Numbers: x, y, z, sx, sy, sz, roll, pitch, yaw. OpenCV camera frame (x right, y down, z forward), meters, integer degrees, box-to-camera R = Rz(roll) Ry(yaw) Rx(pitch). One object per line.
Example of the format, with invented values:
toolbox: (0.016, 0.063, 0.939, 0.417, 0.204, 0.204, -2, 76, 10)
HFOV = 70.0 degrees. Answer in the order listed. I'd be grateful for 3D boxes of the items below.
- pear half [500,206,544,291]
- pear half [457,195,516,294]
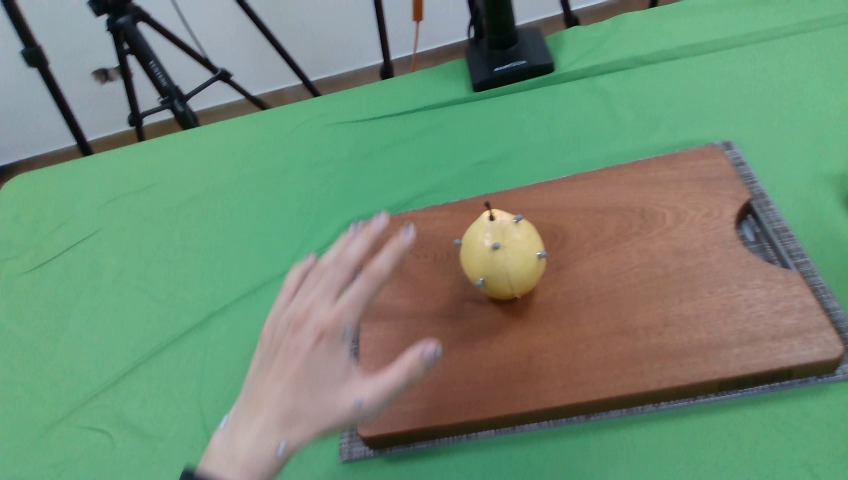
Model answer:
pear half: (0.092, 0.004, 0.550, 0.031, 0.089, 0.070, -6, 41, 16)
pear half: (0.055, -0.001, 0.553, 0.056, 0.111, 0.075, -5, 44, 16)
